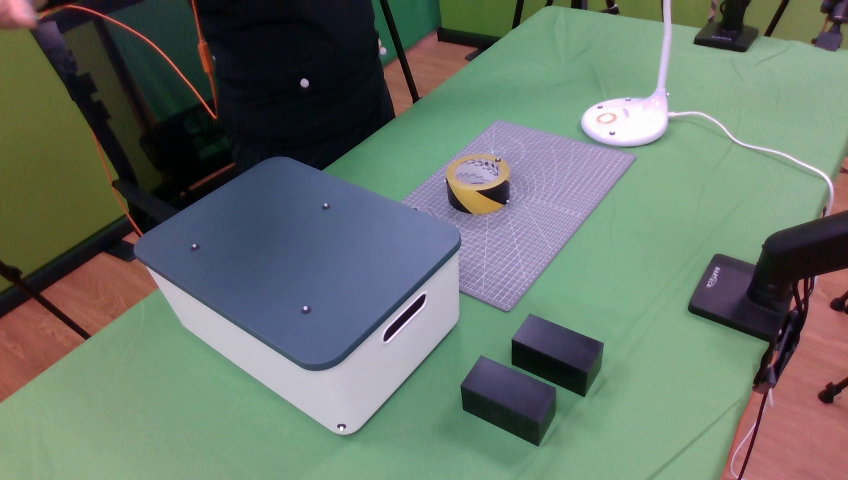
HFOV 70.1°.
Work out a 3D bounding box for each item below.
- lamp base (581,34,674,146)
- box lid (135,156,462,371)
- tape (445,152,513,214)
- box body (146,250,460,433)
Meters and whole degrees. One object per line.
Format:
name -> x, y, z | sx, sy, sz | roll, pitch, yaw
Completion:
lamp base -> 0.392, -0.291, 1.129 | 0.180, 0.181, 0.159 | -11, 41, -8
box lid -> -0.162, 0.004, 0.765 | 0.368, 0.015, 0.264 | 24, 49, 31
tape -> 0.095, -0.099, 1.042 | 0.117, 0.053, 0.116 | -4, 41, 4
box body -> -0.156, 0.058, 0.815 | 0.361, 0.161, 0.255 | 24, 49, 31
